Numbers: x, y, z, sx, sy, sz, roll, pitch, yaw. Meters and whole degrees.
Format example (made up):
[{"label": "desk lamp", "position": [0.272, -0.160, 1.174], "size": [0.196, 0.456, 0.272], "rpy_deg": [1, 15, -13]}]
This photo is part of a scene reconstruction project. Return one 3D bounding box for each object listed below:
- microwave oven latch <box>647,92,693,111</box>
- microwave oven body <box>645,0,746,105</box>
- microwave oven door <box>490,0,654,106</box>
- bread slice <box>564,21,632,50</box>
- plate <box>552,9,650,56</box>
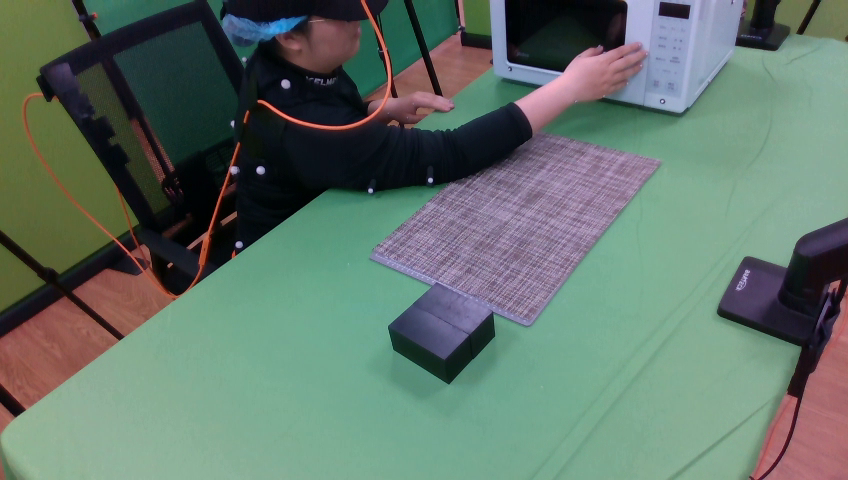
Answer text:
[{"label": "microwave oven latch", "position": [0.477, -0.273, 1.177], "size": [0.078, 0.029, 0.030], "rpy_deg": [23, 50, 33]}, {"label": "microwave oven body", "position": [0.417, -0.486, 1.290], "size": [0.438, 0.261, 0.327], "rpy_deg": [21, 50, 33]}, {"label": "microwave oven door", "position": [0.293, -0.420, 1.228], "size": [0.353, 0.245, 0.039], "rpy_deg": [22, 49, 32]}, {"label": "bread slice", "position": [0.394, -0.455, 1.344], "size": [0.105, 0.019, 0.130], "rpy_deg": [-35, 43, -26]}, {"label": "plate", "position": [0.390, -0.456, 1.339], "size": [0.209, 0.038, 0.208], "rpy_deg": [-6, 39, 5]}]
